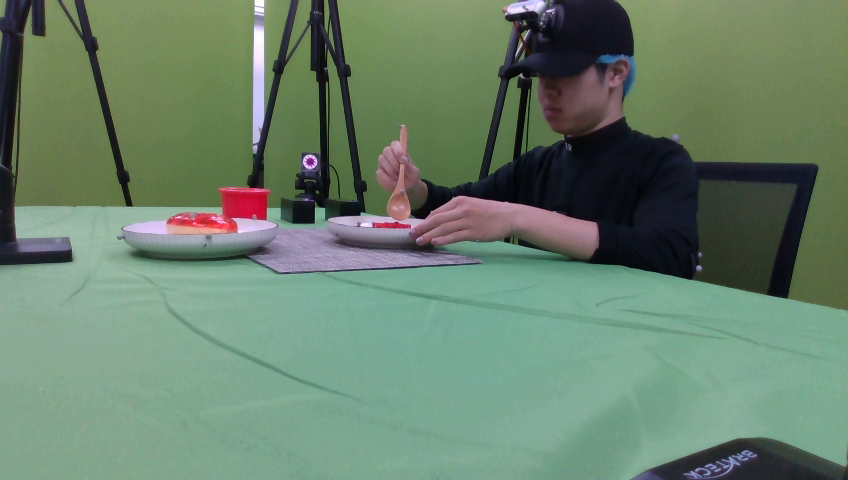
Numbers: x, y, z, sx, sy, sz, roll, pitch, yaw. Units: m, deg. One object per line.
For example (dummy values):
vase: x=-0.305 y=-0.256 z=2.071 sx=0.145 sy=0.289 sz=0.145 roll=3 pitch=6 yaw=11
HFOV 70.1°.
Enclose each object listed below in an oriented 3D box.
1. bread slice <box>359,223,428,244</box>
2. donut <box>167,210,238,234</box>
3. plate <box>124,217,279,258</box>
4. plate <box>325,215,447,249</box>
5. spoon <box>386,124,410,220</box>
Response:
bread slice: x=-0.062 y=-0.012 z=1.035 sx=0.105 sy=0.019 sz=0.131 roll=0 pitch=10 yaw=-20
donut: x=-0.321 y=-0.017 z=0.882 sx=0.099 sy=0.048 sz=0.099 roll=3 pitch=6 yaw=0
plate: x=-0.315 y=-0.004 z=0.871 sx=0.208 sy=0.039 sz=0.207 roll=1 pitch=8 yaw=0
plate: x=-0.065 y=-0.015 z=1.034 sx=0.209 sy=0.038 sz=0.209 roll=3 pitch=8 yaw=0
spoon: x=-0.040 y=-0.121 z=1.056 sx=0.042 sy=0.193 sz=0.021 roll=8 pitch=-21 yaw=-10
